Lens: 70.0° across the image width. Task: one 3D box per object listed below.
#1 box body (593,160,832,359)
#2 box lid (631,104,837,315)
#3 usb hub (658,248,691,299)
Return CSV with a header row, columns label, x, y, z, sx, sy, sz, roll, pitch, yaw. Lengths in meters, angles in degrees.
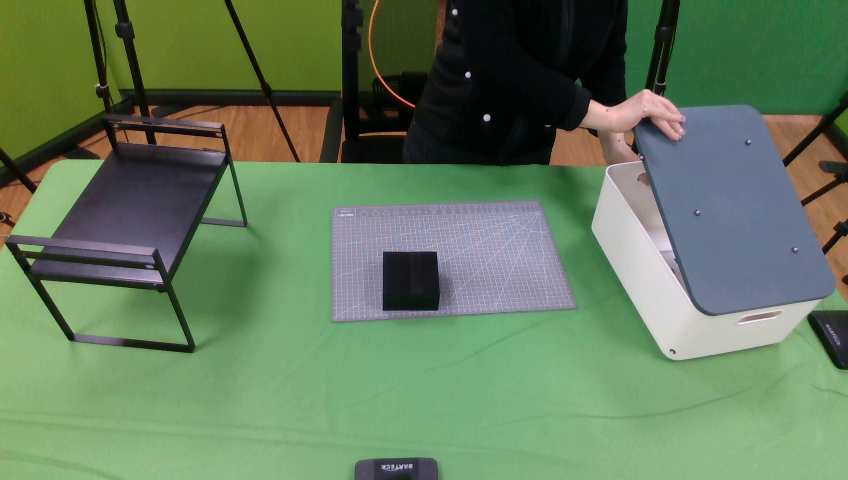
label,x,y,z,sx,sy,sz,roll,pitch,yaw
box body,0.497,0.023,1.111,0.254,0.161,0.361,-8,47,-10
box lid,0.506,-0.067,1.003,0.264,0.015,0.369,-6,69,-13
usb hub,0.482,0.068,1.150,0.049,0.025,0.124,0,48,-8
